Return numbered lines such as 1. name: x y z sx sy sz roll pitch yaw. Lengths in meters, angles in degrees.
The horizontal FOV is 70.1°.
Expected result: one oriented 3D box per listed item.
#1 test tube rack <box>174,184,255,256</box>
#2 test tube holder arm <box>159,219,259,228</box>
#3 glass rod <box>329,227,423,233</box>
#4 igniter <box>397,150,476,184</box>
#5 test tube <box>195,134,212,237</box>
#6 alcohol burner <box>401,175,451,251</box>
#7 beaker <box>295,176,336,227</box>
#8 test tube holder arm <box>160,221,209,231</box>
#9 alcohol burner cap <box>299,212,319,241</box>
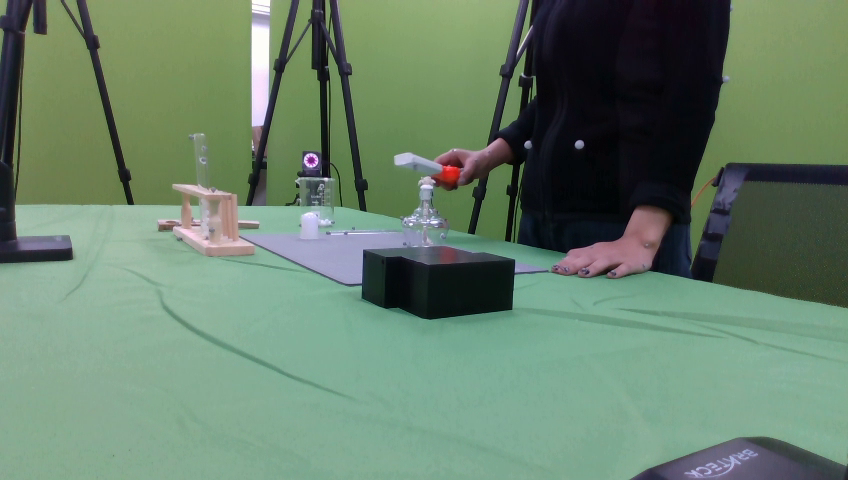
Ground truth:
1. test tube rack: -0.327 -0.036 0.928 0.067 0.085 0.241 -2 9 -32
2. test tube holder arm: -0.390 -0.030 1.107 0.179 0.015 0.013 -4 45 -39
3. glass rod: -0.087 -0.019 1.148 0.201 0.008 0.008 -3 8 -32
4. igniter: 0.030 -0.130 1.102 0.057 0.025 0.278 -7 -5 25
5. test tube: -0.320 -0.079 0.880 0.017 0.150 0.017 -3 3 1
6. alcohol burner: 0.003 -0.042 0.947 0.078 0.119 0.078 1 9 0
7. beaker: -0.224 -0.080 1.247 0.084 0.100 0.073 -1 8 -18
8. test tube holder arm: -0.423 -0.024 1.076 0.088 0.015 0.010 -3 45 -38
9. alcohol burner cap: -0.195 -0.024 1.025 0.034 0.048 0.034 3 7 0
